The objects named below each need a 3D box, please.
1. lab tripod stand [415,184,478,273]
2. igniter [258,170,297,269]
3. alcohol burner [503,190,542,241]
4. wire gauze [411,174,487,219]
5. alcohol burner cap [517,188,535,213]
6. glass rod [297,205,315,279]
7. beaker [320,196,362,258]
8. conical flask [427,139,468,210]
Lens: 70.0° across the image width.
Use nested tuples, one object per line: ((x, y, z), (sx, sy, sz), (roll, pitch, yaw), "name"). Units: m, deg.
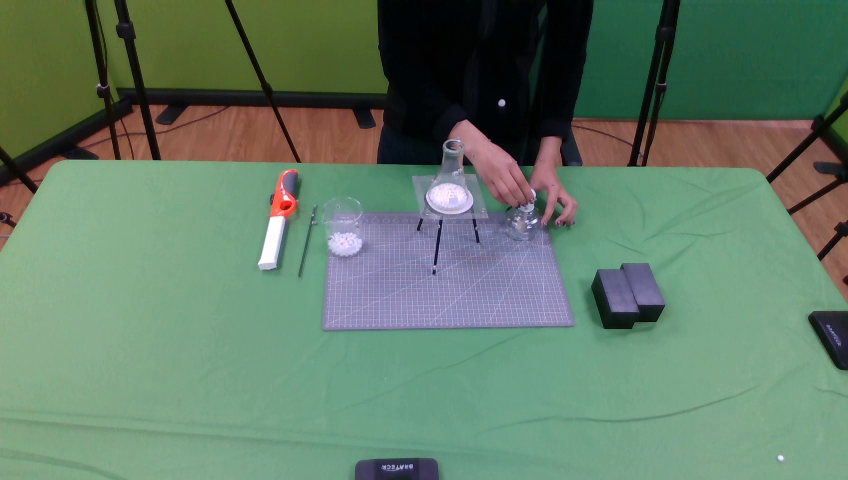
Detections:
((0.042, -0.031, 1.152), (0.148, 0.132, 0.147), (3, 44, -3), "lab tripod stand")
((-0.294, -0.050, 1.221), (0.057, 0.025, 0.274), (-5, 45, 4), "igniter")
((0.198, -0.055, 1.202), (0.078, 0.120, 0.077), (2, 47, -2), "alcohol burner")
((0.044, -0.079, 1.107), (0.125, 0.011, 0.120), (-4, 44, -6), "wire gauze")
((0.200, -0.079, 1.175), (0.034, 0.048, 0.033), (1, 52, -1), "alcohol burner cap")
((-0.232, 0.000, 1.191), (0.008, 0.008, 0.198), (2, 46, -1), "glass rod")
((-0.156, -0.021, 1.150), (0.084, 0.101, 0.073), (-30, 55, -28), "beaker")
((0.046, -0.117, 1.061), (0.075, 0.122, 0.075), (3, 46, -2), "conical flask")
